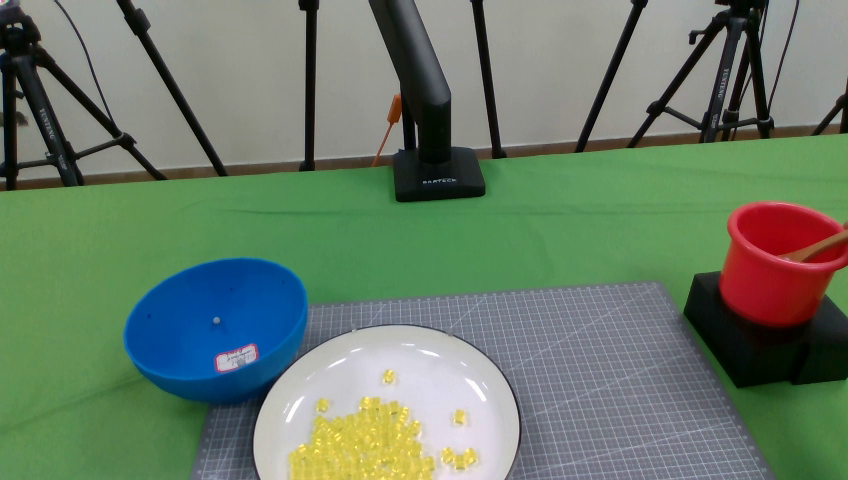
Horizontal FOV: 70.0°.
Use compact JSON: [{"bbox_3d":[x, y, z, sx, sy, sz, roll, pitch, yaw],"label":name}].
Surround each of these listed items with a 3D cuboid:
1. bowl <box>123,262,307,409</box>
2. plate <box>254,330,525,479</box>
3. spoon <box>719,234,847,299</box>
[{"bbox_3d":[-0.175,0.095,0.537,0.151,0.077,0.150,-1,36,1],"label":"bowl"},{"bbox_3d":[-0.026,0.156,0.482,0.208,0.039,0.205,-1,36,1],"label":"plate"},{"bbox_3d":[0.341,0.007,0.500,0.193,0.022,0.041,-33,20,38],"label":"spoon"}]
